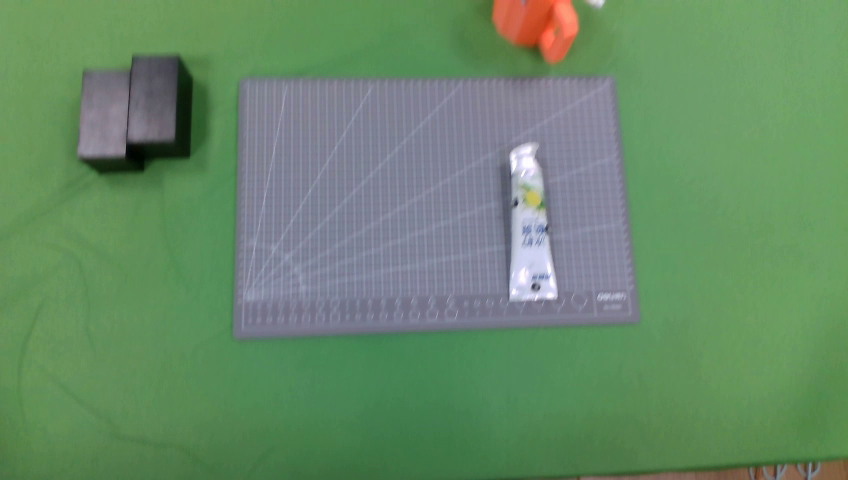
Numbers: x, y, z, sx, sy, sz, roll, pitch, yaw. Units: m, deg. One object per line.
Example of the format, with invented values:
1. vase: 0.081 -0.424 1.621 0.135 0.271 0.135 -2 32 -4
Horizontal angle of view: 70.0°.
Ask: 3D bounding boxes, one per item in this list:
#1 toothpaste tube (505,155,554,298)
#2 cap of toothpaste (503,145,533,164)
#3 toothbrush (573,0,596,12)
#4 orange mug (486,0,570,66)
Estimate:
1. toothpaste tube: 0.114 -0.017 0.690 0.055 0.034 0.164 -4 82 2
2. cap of toothpaste: 0.110 -0.098 0.701 0.037 0.037 0.011 -14 76 -7
3. toothbrush: 0.120 -0.313 0.667 0.181 0.017 0.014 43 76 5
4. orange mug: 0.131 -0.274 0.713 0.083 0.101 0.125 -23 76 -9
